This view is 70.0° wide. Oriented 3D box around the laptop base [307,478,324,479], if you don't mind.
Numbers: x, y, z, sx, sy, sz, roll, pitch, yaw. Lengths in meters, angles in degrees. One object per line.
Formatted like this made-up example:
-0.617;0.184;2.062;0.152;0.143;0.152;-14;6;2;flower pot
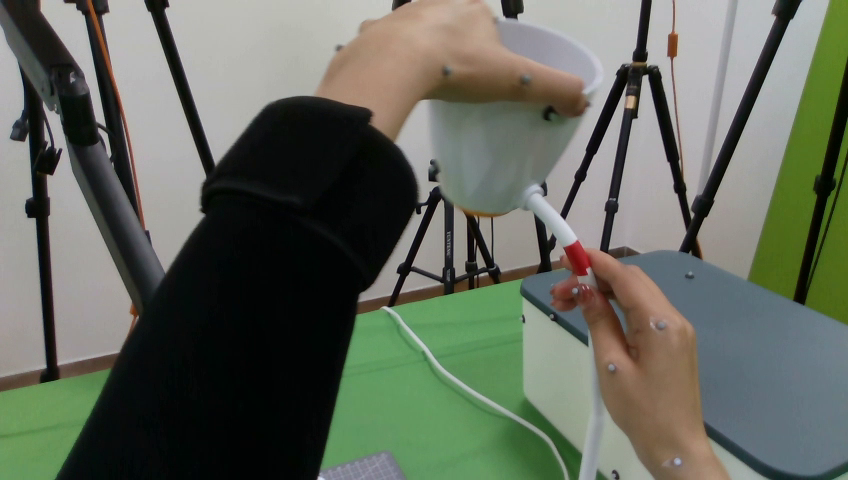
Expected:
-0.220;0.316;0.465;0.355;0.023;0.233;-9;26;-22;laptop base

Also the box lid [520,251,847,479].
0.297;0.095;0.624;0.264;0.015;0.367;-9;23;-24;box lid

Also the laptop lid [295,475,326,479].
-0.219;0.306;0.458;0.358;0.013;0.239;-9;25;-20;laptop lid

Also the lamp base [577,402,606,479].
0.110;0.227;0.466;0.160;0.181;0.179;8;20;17;lamp base

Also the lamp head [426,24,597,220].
0.054;-0.073;0.427;0.112;0.124;0.111;3;38;-2;lamp head

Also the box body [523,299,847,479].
0.297;0.165;0.651;0.255;0.161;0.360;-10;24;-24;box body
